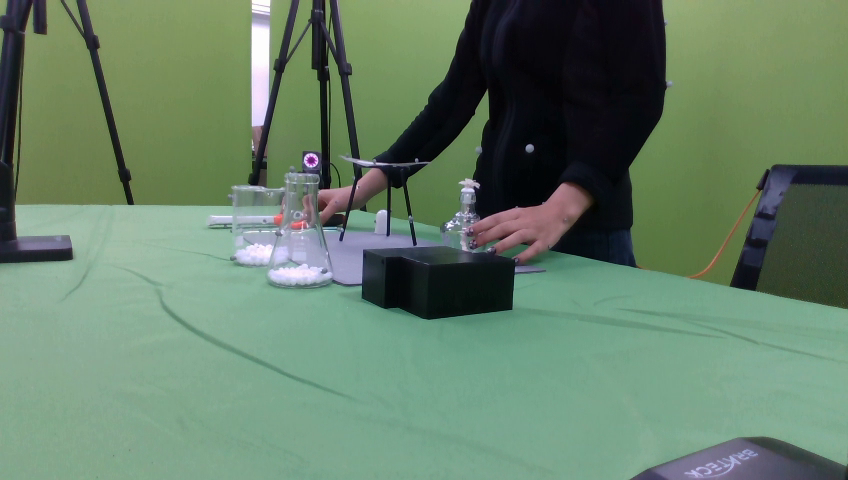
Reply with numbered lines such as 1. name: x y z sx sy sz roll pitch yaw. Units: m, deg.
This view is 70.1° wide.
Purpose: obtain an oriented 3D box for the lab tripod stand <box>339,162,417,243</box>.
1. lab tripod stand: -0.067 -0.065 1.027 0.148 0.131 0.148 4 7 0

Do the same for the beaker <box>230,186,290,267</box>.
1. beaker: -0.209 -0.019 0.778 0.074 0.100 0.084 3 6 4

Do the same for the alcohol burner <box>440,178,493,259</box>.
1. alcohol burner: 0.063 -0.032 0.887 0.078 0.119 0.078 4 5 0

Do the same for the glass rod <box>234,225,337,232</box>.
1. glass rod: -0.256 -0.022 1.136 0.201 0.008 0.008 -3 9 -33

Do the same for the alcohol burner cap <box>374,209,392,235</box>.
1. alcohol burner cap: -0.078 -0.036 1.148 0.034 0.048 0.034 2 7 0

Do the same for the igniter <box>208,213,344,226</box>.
1. igniter: -0.283 -0.041 1.200 0.278 0.025 0.057 -2 -2 -34

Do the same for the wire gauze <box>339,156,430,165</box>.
1. wire gauze: -0.067 -0.132 1.022 0.122 0.011 0.124 -1 9 -31

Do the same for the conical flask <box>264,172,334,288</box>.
1. conical flask: -0.135 -0.013 0.660 0.075 0.122 0.075 2 7 0
